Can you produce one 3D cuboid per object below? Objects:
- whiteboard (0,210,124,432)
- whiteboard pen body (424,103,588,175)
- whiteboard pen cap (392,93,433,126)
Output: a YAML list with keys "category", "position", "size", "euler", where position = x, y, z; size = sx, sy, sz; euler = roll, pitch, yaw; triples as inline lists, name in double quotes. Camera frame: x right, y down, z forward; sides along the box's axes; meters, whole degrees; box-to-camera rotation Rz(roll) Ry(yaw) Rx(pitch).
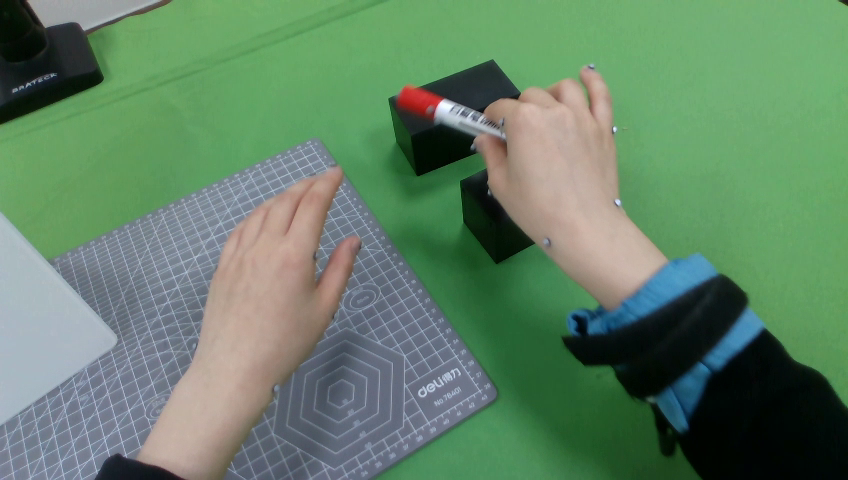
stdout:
- category: "whiteboard"
  position: [-0.387, 0.002, 0.372]
  size: [0.217, 0.308, 0.142]
  euler: [-37, 39, -18]
- category: "whiteboard pen body"
  position: [0.045, -0.074, 0.420]
  size: [0.140, 0.017, 0.017]
  euler: [22, 60, 14]
- category: "whiteboard pen cap"
  position: [-0.006, -0.094, 0.436]
  size: [0.032, 0.017, 0.017]
  euler: [21, 60, 14]
